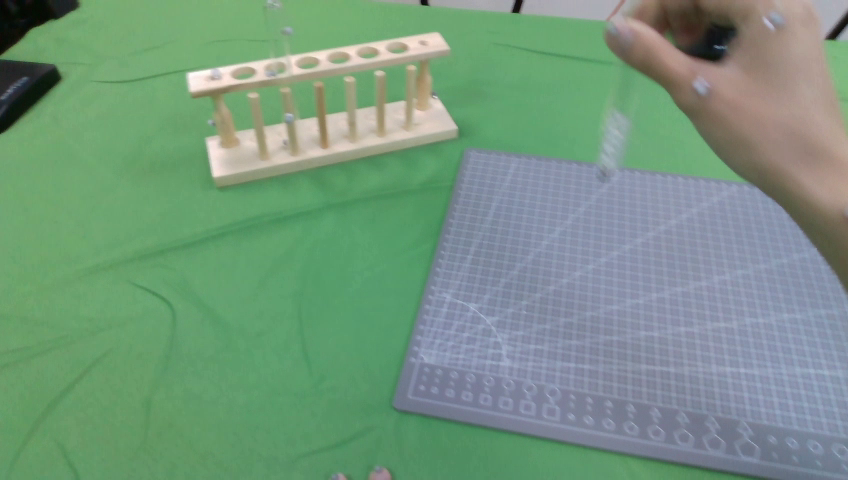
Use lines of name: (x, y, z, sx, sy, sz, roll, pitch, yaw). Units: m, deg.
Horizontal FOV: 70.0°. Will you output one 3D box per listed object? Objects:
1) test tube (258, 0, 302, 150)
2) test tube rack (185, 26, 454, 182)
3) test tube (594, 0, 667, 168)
test tube: (-0.126, -0.143, 0.534, 0.017, 0.152, 0.017, 1, 46, 0)
test tube rack: (-0.093, -0.135, 0.588, 0.243, 0.086, 0.066, -15, 49, -14)
test tube: (0.109, -0.099, 0.309, 0.017, 0.151, 0.017, 0, 45, 0)
